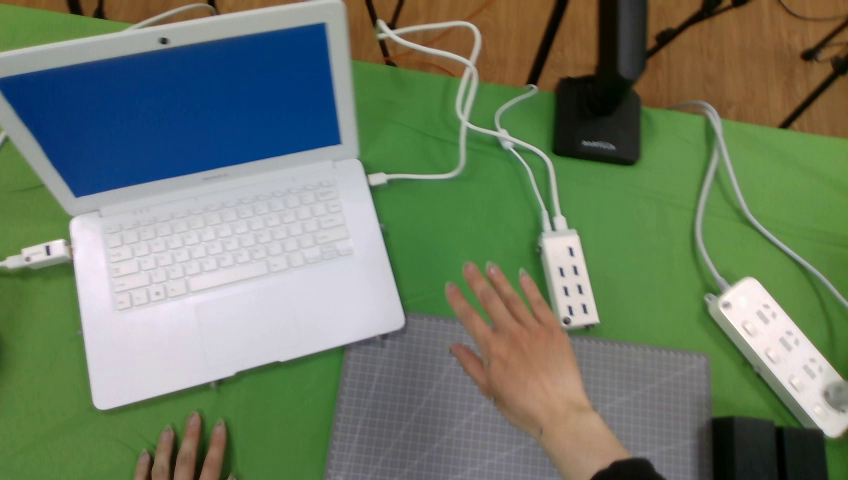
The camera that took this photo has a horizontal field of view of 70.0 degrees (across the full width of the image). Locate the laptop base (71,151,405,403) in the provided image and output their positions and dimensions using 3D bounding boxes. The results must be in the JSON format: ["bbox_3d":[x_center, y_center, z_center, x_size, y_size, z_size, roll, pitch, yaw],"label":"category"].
[{"bbox_3d":[-0.221,0.032,0.726,0.355,0.023,0.234,-14,77,-11],"label":"laptop base"}]

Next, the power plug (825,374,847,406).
[{"bbox_3d":[0.519,0.173,0.733,0.072,0.053,0.035,-22,74,-15],"label":"power plug"}]

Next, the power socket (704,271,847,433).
[{"bbox_3d":[0.449,0.137,0.757,0.072,0.033,0.225,-33,78,-16],"label":"power socket"}]

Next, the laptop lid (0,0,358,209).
[{"bbox_3d":[-0.252,-0.141,0.659,0.357,0.243,0.013,-15,58,-9],"label":"laptop lid"}]

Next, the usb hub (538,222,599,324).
[{"bbox_3d":[0.180,0.041,0.764,0.049,0.025,0.124,-7,72,-7],"label":"usb hub"}]

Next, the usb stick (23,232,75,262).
[{"bbox_3d":[-0.425,0.007,0.699,0.059,0.027,0.021,-14,77,-15],"label":"usb stick"}]
